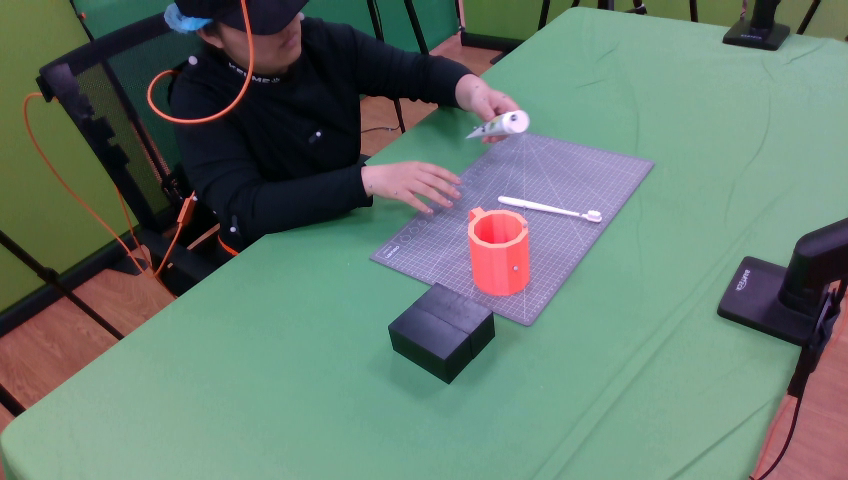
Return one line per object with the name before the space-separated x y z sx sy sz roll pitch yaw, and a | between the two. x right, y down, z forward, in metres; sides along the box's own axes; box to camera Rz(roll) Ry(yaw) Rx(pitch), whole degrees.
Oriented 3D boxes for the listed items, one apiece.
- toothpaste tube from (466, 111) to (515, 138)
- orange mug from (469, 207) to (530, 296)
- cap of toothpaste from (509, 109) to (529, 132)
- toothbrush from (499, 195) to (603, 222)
toothpaste tube | 0.124 -0.197 1.032 0.055 0.034 0.164 -37 17 -14
orange mug | 0.104 0.008 0.894 0.084 0.101 0.125 -22 46 -14
cap of toothpaste | 0.149 -0.189 0.959 0.037 0.037 0.011 -25 14 -17
toothbrush | 0.209 -0.055 1.011 0.180 0.017 0.014 14 60 27
